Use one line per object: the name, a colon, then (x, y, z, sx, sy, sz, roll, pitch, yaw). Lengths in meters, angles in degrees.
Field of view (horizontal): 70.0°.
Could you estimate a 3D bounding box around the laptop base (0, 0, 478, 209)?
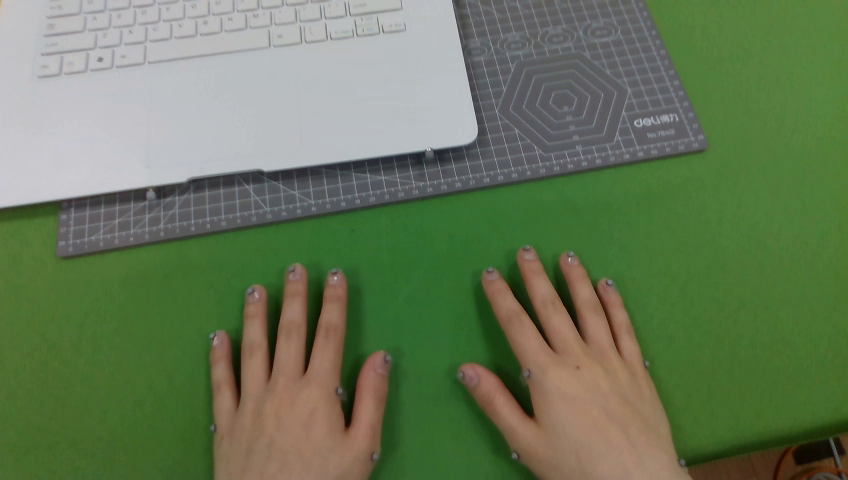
laptop base: (-0.151, -0.146, 0.462, 0.354, 0.023, 0.233, -8, 69, -3)
